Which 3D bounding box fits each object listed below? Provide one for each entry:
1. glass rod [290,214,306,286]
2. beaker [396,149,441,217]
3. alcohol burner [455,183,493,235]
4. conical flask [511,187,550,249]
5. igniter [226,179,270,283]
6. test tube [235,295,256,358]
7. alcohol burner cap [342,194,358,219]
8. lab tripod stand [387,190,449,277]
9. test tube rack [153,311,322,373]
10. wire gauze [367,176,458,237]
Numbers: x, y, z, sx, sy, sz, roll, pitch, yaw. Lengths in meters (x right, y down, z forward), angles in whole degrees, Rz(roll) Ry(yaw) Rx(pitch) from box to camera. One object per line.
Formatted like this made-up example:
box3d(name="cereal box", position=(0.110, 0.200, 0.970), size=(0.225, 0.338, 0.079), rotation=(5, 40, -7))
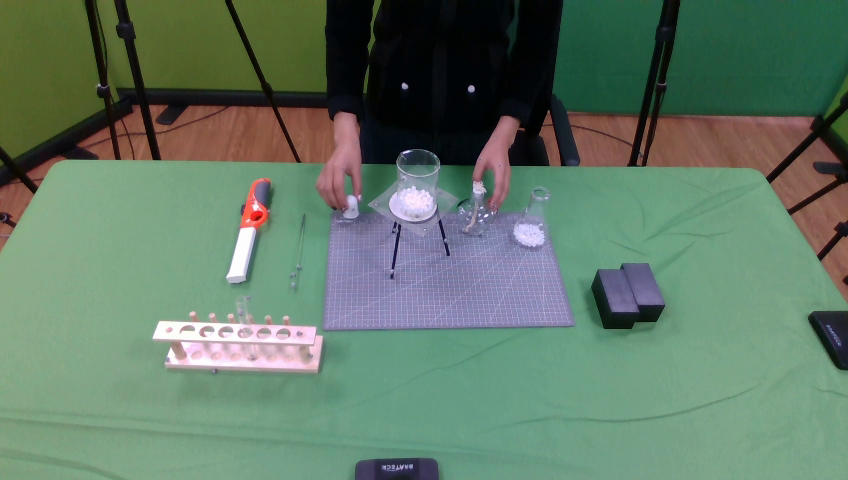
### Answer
box3d(name="glass rod", position=(-0.244, 0.015, 1.175), size=(0.008, 0.008, 0.198), rotation=(1, 43, -3))
box3d(name="beaker", position=(-0.015, -0.098, 1.053), size=(0.074, 0.101, 0.083), rotation=(-31, 55, -30))
box3d(name="alcohol burner", position=(0.102, -0.066, 1.205), size=(0.078, 0.119, 0.077), rotation=(4, 45, -4))
box3d(name="conical flask", position=(0.217, -0.048, 1.190), size=(0.075, 0.122, 0.075), rotation=(2, 46, -2))
box3d(name="igniter", position=(-0.345, -0.027, 1.195), size=(0.057, 0.025, 0.274), rotation=(-6, 46, 5))
box3d(name="test tube", position=(-0.274, 0.136, 0.933), size=(0.017, 0.151, 0.017), rotation=(4, 46, -4))
box3d(name="alcohol burner cap", position=(-0.149, -0.069, 1.214), size=(0.034, 0.048, 0.033), rotation=(1, 45, -1))
box3d(name="lab tripod stand", position=(-0.021, -0.018, 1.135), size=(0.148, 0.132, 0.147), rotation=(3, 44, -3))
box3d(name="test tube rack", position=(-0.293, 0.160, 0.978), size=(0.242, 0.085, 0.066), rotation=(3, 46, -2))
box3d(name="wire gauze", position=(-0.020, -0.066, 1.089), size=(0.124, 0.011, 0.121), rotation=(27, 47, 22))
